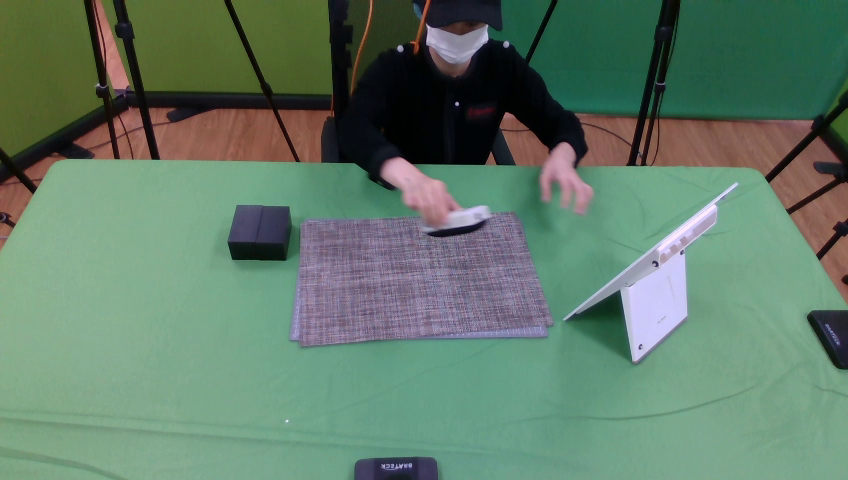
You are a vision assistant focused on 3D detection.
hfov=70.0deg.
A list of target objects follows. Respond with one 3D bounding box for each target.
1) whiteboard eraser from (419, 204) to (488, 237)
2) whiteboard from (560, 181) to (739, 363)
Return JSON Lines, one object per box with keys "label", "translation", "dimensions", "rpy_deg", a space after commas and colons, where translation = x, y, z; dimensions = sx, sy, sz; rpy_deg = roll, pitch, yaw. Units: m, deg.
{"label": "whiteboard eraser", "translation": [0.049, -0.030, 1.015], "dimensions": [0.112, 0.042, 0.055], "rpy_deg": [-7, 14, 45]}
{"label": "whiteboard", "translation": [0.406, 0.076, 1.000], "dimensions": [0.217, 0.306, 0.143], "rpy_deg": [-29, 74, -29]}
